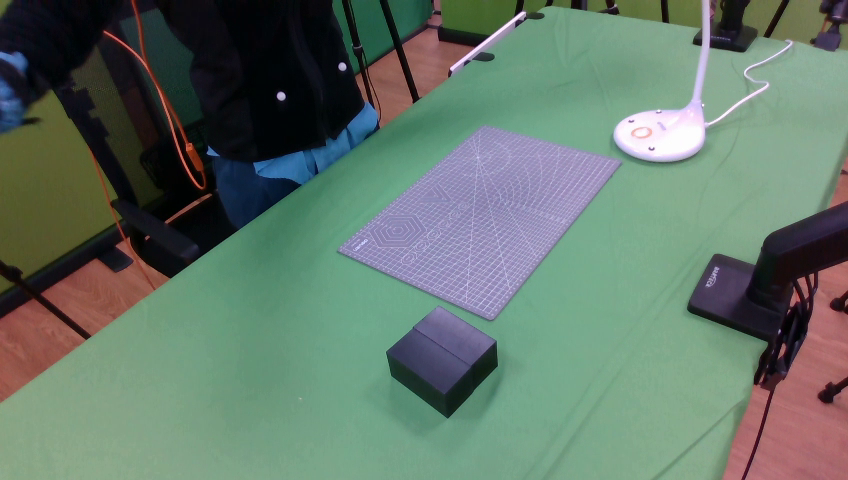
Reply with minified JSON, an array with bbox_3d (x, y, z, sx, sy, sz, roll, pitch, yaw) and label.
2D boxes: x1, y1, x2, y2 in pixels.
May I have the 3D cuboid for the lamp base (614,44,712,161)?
[{"bbox_3d":[0.441,-0.257,1.081,0.180,0.181,0.159,-15,41,-12],"label":"lamp base"}]
